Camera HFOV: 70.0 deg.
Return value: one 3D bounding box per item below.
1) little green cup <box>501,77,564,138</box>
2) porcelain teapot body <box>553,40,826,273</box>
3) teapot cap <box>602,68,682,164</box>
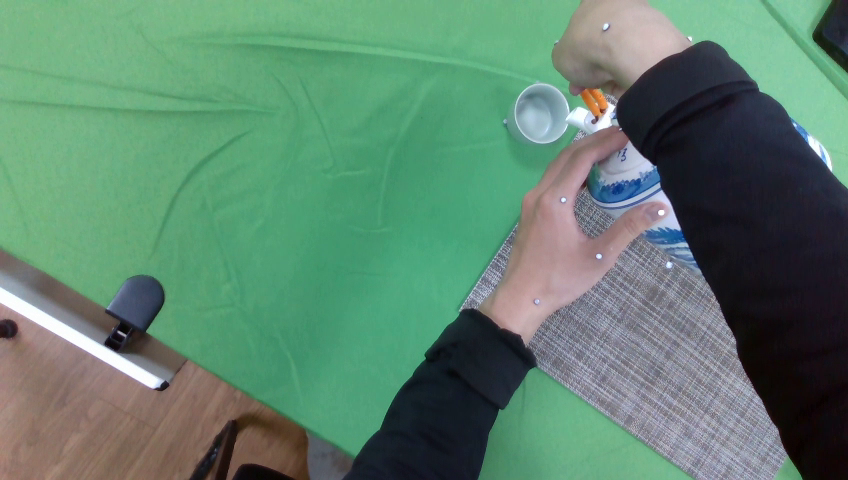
[{"bbox_3d":[0.112,-0.136,0.639,0.062,0.038,0.061,0,91,-13],"label":"little green cup"},{"bbox_3d":[0.192,-0.084,0.520,0.227,0.204,0.145,30,94,-18],"label":"porcelain teapot body"},{"bbox_3d":[0.167,-0.100,0.479,0.044,0.085,0.085,30,85,-15],"label":"teapot cap"}]
